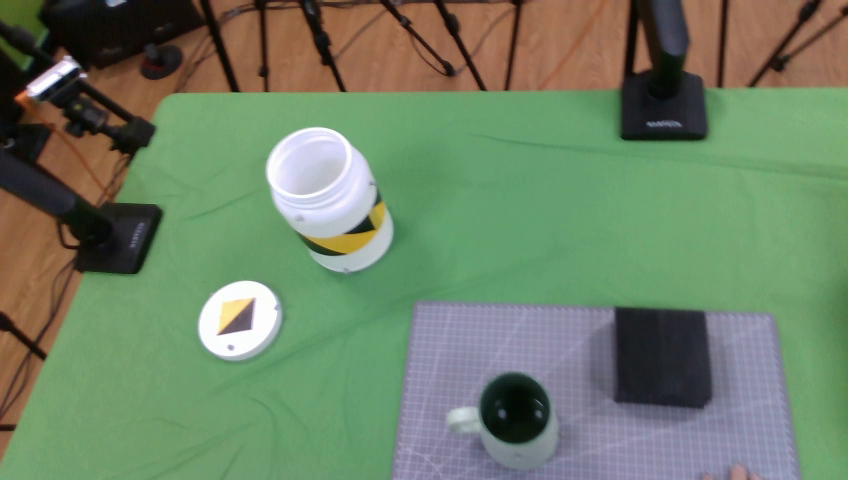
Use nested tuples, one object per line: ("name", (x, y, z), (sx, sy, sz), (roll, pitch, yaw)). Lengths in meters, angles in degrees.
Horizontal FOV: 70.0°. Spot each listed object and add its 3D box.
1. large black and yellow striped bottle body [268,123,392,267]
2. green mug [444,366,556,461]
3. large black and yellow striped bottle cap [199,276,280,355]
("large black and yellow striped bottle body", (-0.124, -0.058, 0.820), (0.130, 0.186, 0.129), (-5, 60, 9))
("green mug", (0.085, 0.196, 0.682), (0.125, 0.106, 0.091), (-6, 61, 8))
("large black and yellow striped bottle cap", (-0.261, 0.105, 0.855), (0.115, 0.019, 0.114), (-5, 60, 8))
